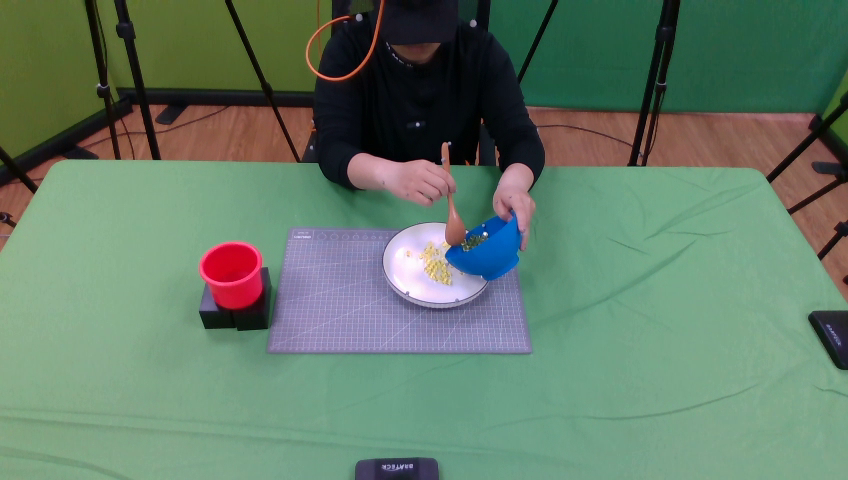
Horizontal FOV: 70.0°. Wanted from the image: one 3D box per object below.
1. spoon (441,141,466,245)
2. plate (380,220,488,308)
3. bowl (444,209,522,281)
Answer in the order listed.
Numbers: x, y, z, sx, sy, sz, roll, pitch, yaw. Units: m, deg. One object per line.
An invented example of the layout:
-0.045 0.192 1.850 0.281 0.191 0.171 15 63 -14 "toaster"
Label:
0.047 -0.082 1.089 0.041 0.194 0.021 -11 14 -10 "spoon"
0.022 0.048 1.138 0.208 0.039 0.206 2 46 -2 "plate"
0.119 0.019 1.076 0.151 0.151 0.077 -41 102 -34 "bowl"
